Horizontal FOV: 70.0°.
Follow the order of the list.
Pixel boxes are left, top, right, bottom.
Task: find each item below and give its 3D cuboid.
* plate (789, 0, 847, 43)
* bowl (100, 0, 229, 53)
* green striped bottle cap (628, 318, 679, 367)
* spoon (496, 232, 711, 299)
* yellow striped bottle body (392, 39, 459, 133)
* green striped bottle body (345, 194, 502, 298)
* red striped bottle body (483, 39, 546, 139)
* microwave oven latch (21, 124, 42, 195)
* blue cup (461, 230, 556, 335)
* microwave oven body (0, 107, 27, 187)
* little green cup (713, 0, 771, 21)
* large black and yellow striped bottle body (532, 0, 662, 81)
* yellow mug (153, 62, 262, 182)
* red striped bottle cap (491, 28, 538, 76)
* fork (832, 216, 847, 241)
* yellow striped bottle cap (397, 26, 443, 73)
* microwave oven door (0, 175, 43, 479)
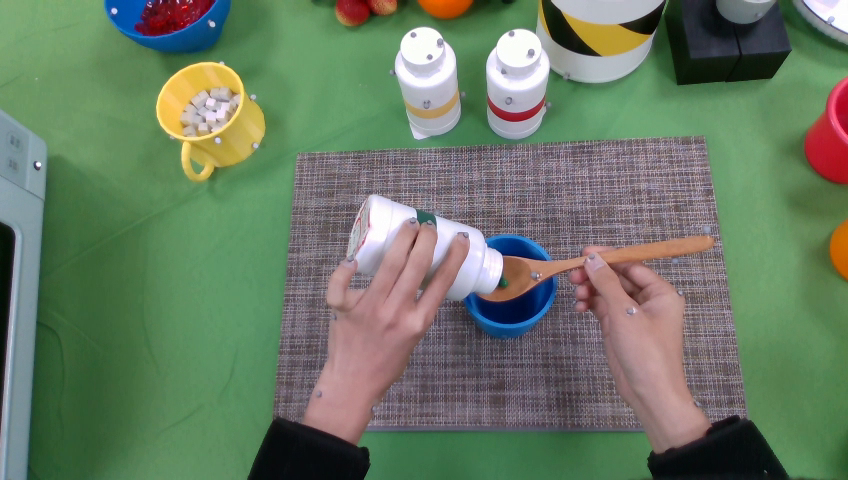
[{"bbox_3d":[0.502,-0.297,0.675,0.209,0.038,0.207,-2,71,6],"label":"plate"},{"bbox_3d":[-0.300,-0.284,0.738,0.151,0.077,0.150,-2,71,5],"label":"bowl"},{"bbox_3d":[0.219,0.097,0.577,0.044,0.020,0.044,-2,67,5],"label":"green striped bottle cap"},{"bbox_3d":[0.128,0.017,0.490,0.193,0.022,0.041,-12,64,23],"label":"spoon"},{"bbox_3d":[0.002,-0.170,0.642,0.063,0.121,0.062,-2,70,7],"label":"yellow striped bottle body"},{"bbox_3d":[0.002,0.008,0.487,0.120,0.063,0.063,16,71,-16],"label":"green striped bottle body"},{"bbox_3d":[0.095,-0.162,0.630,0.063,0.120,0.062,-4,68,10],"label":"red striped bottle body"},{"bbox_3d":[-0.456,-0.090,0.689,0.030,0.030,0.078,-9,71,3],"label":"microwave oven latch"},{"bbox_3d":[0.074,0.049,0.564,0.092,0.101,0.092,-1,69,4],"label":"blue cup"},{"bbox_3d":[-0.584,0.069,0.546,0.326,0.262,0.438,-11,71,2],"label":"microwave oven body"},{"bbox_3d":[0.332,-0.260,0.627,0.061,0.039,0.061,-2,69,4],"label":"little green cup"},{"bbox_3d":[0.181,-0.267,0.623,0.130,0.185,0.130,-2,70,6],"label":"large black and yellow striped bottle body"},{"bbox_3d":[-0.247,-0.128,0.684,0.100,0.064,0.130,8,72,8],"label":"yellow mug"},{"bbox_3d":[0.087,-0.181,0.581,0.044,0.018,0.044,-1,69,2],"label":"red striped bottle cap"},{"bbox_3d":[0.451,0.017,0.512,0.028,0.019,0.205,-40,27,-7],"label":"fork"},{"bbox_3d":[-0.004,-0.187,0.594,0.044,0.019,0.044,-2,72,5],"label":"yellow striped bottle cap"},{"bbox_3d":[-0.435,0.079,0.520,0.039,0.245,0.353,-11,70,3],"label":"microwave oven door"}]
